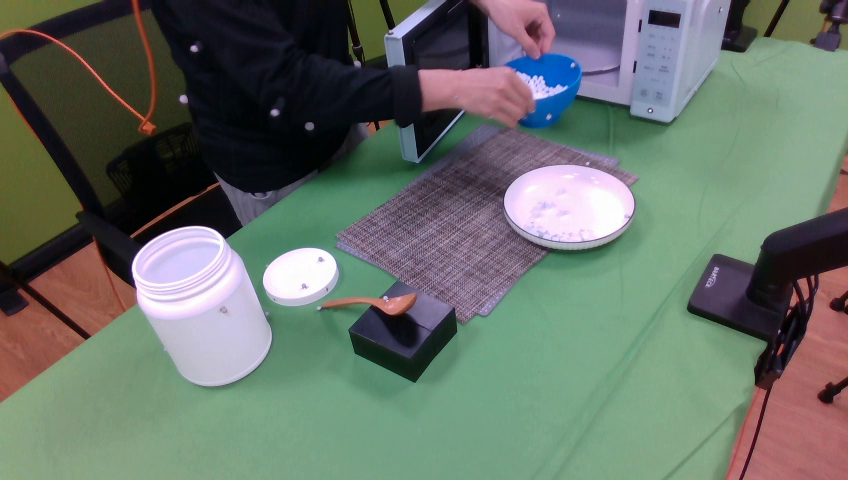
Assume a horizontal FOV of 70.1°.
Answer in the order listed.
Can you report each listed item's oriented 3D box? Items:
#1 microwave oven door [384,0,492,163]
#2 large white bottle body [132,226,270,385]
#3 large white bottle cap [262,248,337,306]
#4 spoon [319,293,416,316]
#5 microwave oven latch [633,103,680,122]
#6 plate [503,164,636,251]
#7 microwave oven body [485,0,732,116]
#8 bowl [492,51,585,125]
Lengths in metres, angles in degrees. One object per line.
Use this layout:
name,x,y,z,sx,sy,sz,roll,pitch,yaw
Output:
microwave oven door,0.042,-0.347,1.173,0.039,0.245,0.356,15,45,24
large white bottle body,-0.286,0.085,0.784,0.130,0.185,0.130,-4,41,4
large white bottle cap,-0.193,0.056,0.934,0.115,0.018,0.114,-4,41,4
spoon,-0.082,0.086,0.826,0.192,0.022,0.041,-3,37,41
microwave oven latch,0.443,-0.249,1.157,0.078,0.029,0.030,21,49,30
plate,0.231,-0.050,0.976,0.209,0.038,0.208,-3,41,3
microwave oven body,0.377,-0.463,1.267,0.438,0.261,0.327,21,49,30
bowl,0.193,-0.246,1.015,0.151,0.077,0.150,-9,42,9
